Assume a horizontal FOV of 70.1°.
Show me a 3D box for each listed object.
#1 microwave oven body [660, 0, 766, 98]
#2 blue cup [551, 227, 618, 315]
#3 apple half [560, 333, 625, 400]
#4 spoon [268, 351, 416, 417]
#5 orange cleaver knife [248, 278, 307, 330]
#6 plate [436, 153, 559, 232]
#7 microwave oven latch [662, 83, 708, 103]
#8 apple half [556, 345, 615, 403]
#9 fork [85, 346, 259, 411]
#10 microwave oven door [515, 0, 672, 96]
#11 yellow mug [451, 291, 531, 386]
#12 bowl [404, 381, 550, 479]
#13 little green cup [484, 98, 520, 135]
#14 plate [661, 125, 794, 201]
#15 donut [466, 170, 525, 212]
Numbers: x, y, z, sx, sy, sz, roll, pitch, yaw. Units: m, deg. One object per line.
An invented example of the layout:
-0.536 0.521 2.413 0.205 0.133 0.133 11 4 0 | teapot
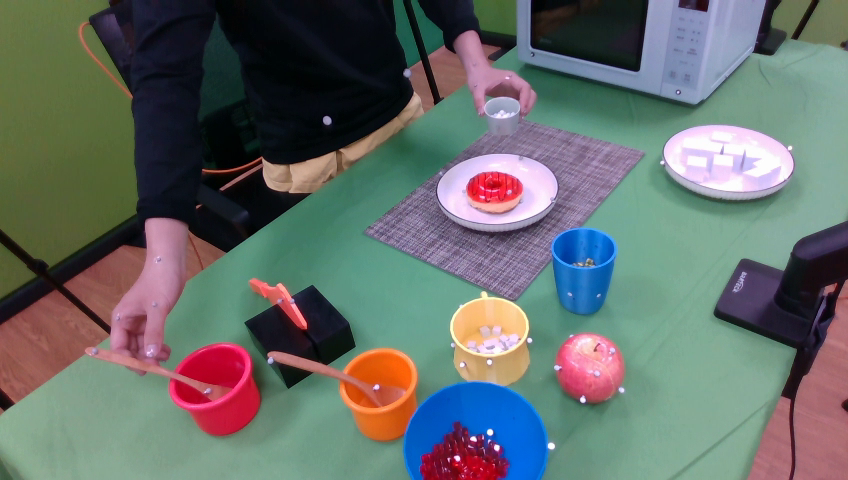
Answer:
0.472 -0.513 1.317 0.438 0.261 0.327 26 51 34 | microwave oven body
0.218 0.047 0.825 0.092 0.101 0.092 -6 39 5 | blue cup
0.209 0.147 0.730 0.080 0.075 0.053 26 48 38 | apple half
-0.091 0.163 0.699 0.021 0.195 0.041 -44 31 28 | spoon
-0.209 0.088 0.856 0.012 0.077 0.210 -34 17 -23 | orange cleaver knife
0.125 -0.078 1.029 0.209 0.038 0.208 -4 40 4 | plate
0.518 -0.296 1.204 0.078 0.029 0.030 28 52 35 | microwave oven latch
0.181 0.166 0.709 0.080 0.081 0.033 29 50 35 | apple half
-0.298 0.167 0.728 0.209 0.018 0.028 28 48 -24 | fork
0.344 -0.455 1.260 0.353 0.245 0.039 26 51 33 | microwave oven door
0.086 0.120 0.786 0.100 0.064 0.130 -7 39 2 | yellow mug
0.058 0.235 0.645 0.151 0.077 0.150 -4 39 4 | bowl
0.132 -0.208 1.022 0.061 0.039 0.061 -2 45 3 | little green cup
0.513 -0.128 1.035 0.207 0.039 0.206 -4 40 4 | plate
0.120 -0.083 1.019 0.099 0.048 0.098 -4 38 3 | donut
